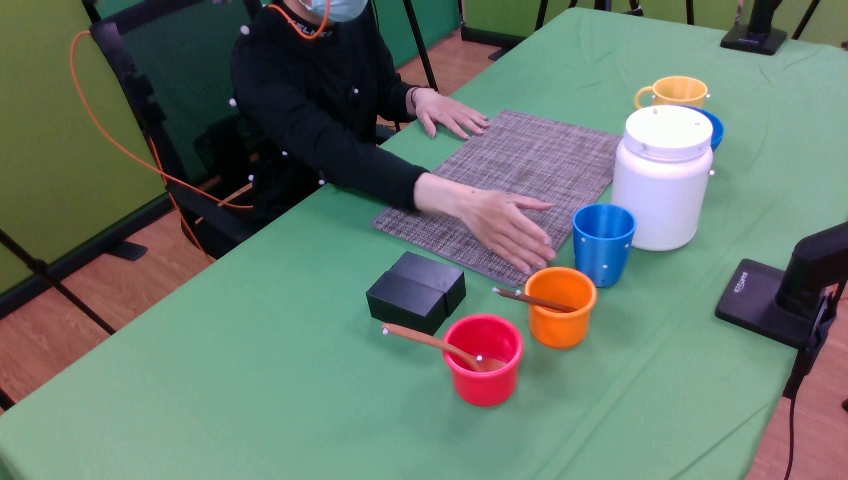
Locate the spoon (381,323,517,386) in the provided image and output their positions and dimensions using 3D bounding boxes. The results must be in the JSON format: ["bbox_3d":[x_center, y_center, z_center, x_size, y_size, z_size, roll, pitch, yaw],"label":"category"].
[{"bbox_3d":[0.033,0.133,0.722,0.195,0.021,0.041,29,33,-26],"label":"spoon"}]

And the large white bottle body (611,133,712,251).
[{"bbox_3d":[0.351,-0.090,0.904,0.130,0.185,0.130,-5,41,4],"label":"large white bottle body"}]

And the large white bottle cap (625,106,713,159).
[{"bbox_3d":[0.342,-0.153,0.848,0.115,0.018,0.114,-4,41,4],"label":"large white bottle cap"}]

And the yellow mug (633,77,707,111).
[{"bbox_3d":[0.479,-0.269,1.186,0.130,0.064,0.100,10,44,21],"label":"yellow mug"}]

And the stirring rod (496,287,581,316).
[{"bbox_3d":[0.150,0.080,0.773,0.178,0.006,0.014,17,21,-42],"label":"stirring rod"}]

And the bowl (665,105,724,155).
[{"bbox_3d":[0.438,-0.166,1.063,0.151,0.077,0.150,-4,41,4],"label":"bowl"}]

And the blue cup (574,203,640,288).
[{"bbox_3d":[0.254,0.013,0.864,0.092,0.100,0.092,-4,38,4],"label":"blue cup"}]
